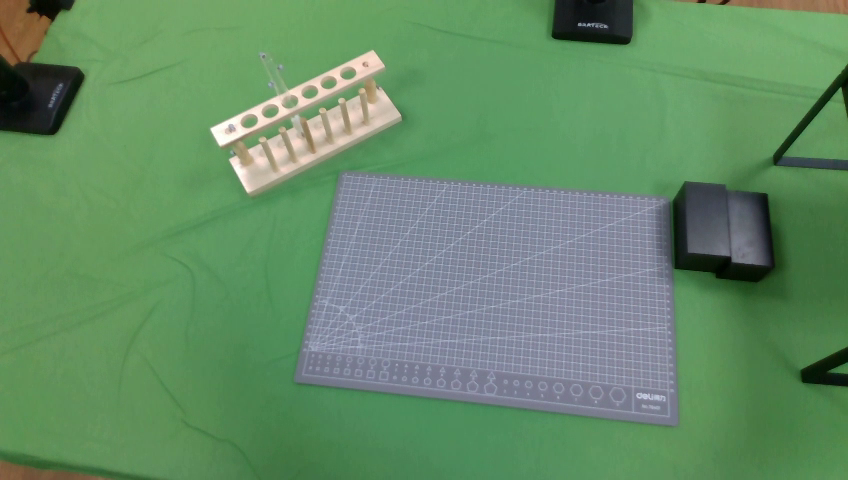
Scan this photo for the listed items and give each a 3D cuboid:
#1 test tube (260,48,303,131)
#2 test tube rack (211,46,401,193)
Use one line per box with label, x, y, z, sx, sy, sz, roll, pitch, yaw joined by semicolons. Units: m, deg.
test tube;-0.183;-0.192;0.793;0.017;0.151;0.017;-2;63;5
test tube rack;-0.156;-0.165;0.834;0.242;0.086;0.066;-29;67;-10
